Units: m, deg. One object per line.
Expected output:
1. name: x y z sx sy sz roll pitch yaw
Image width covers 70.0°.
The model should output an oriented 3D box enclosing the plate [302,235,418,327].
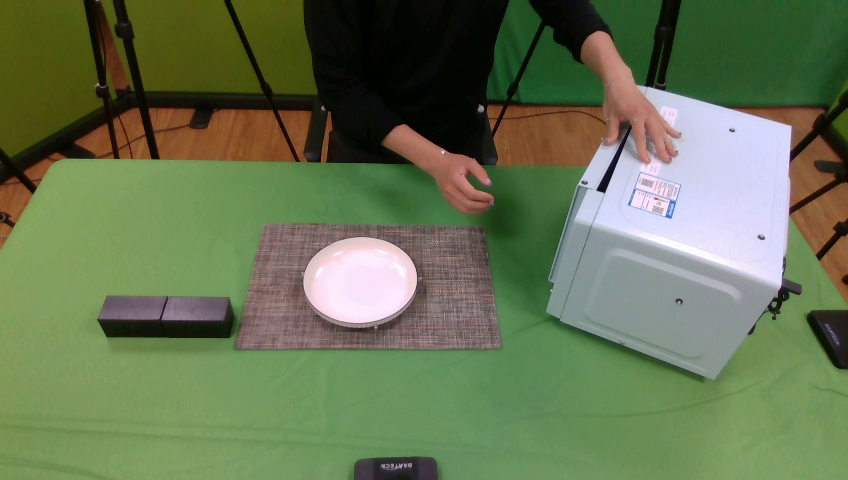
1. plate: -0.114 0.077 1.098 0.208 0.039 0.206 2 46 -2

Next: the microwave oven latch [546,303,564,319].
1. microwave oven latch: 0.242 0.102 1.081 0.030 0.029 0.079 22 48 17

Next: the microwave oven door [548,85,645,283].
1. microwave oven door: 0.334 -0.110 1.151 0.039 0.245 0.355 23 49 17

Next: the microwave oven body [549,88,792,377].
1. microwave oven body: 0.456 -0.028 1.088 0.325 0.261 0.440 20 47 16
